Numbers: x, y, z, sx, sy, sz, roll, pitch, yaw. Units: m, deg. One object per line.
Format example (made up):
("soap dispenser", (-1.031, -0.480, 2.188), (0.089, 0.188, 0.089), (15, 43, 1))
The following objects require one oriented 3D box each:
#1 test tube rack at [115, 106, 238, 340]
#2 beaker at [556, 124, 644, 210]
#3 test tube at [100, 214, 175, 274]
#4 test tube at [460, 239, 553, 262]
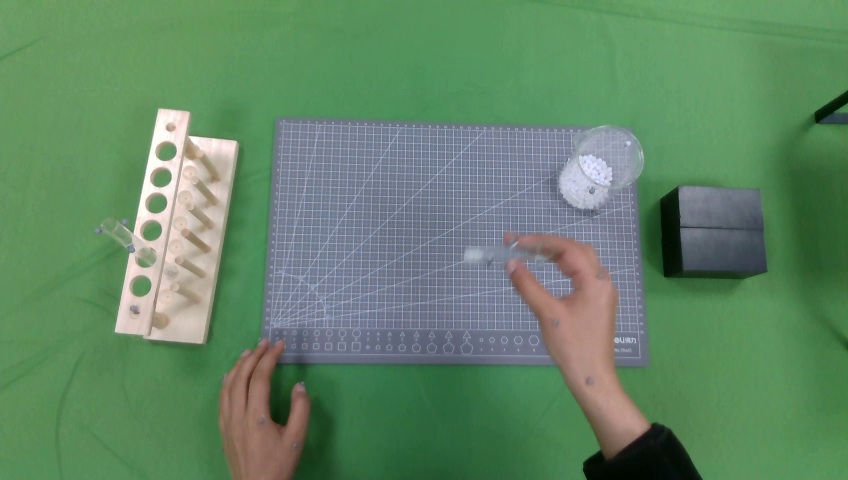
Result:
("test tube rack", (-0.268, -0.016, 0.672), (0.067, 0.085, 0.241), (6, 78, -2))
("beaker", (0.197, -0.082, 0.706), (0.084, 0.100, 0.074), (32, 77, 6))
("test tube", (-0.286, 0.008, 0.615), (0.017, 0.151, 0.017), (1, 71, -1))
("test tube", (0.068, 0.011, 0.541), (0.017, 0.150, 0.017), (1, 87, -22))
